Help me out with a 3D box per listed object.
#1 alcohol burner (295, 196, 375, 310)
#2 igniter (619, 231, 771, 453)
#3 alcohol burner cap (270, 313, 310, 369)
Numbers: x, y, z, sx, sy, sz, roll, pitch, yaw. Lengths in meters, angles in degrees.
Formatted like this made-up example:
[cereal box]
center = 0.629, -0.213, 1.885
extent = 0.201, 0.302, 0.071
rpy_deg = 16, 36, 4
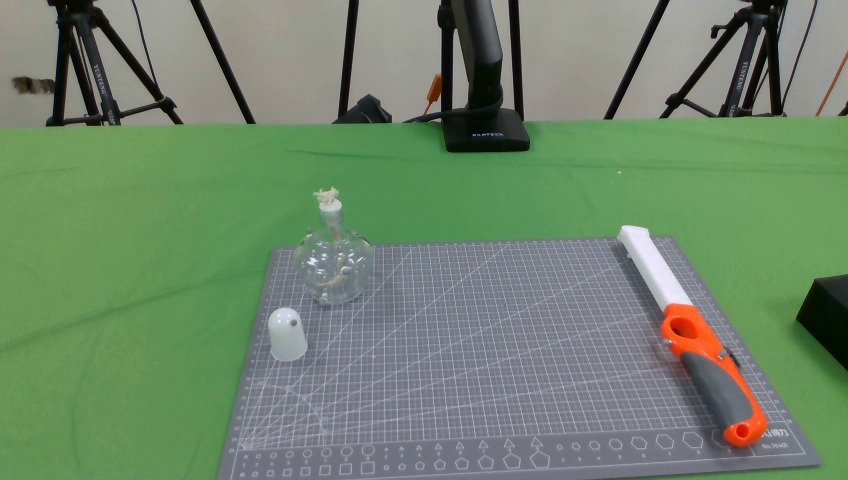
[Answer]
[alcohol burner]
center = -0.085, 0.008, 0.576
extent = 0.078, 0.120, 0.077
rpy_deg = 2, 37, -1
[igniter]
center = 0.240, 0.077, 0.560
extent = 0.057, 0.025, 0.273
rpy_deg = 7, 35, -9
[alcohol burner cap]
center = -0.118, 0.085, 0.529
extent = 0.034, 0.048, 0.033
rpy_deg = 1, 36, 0
